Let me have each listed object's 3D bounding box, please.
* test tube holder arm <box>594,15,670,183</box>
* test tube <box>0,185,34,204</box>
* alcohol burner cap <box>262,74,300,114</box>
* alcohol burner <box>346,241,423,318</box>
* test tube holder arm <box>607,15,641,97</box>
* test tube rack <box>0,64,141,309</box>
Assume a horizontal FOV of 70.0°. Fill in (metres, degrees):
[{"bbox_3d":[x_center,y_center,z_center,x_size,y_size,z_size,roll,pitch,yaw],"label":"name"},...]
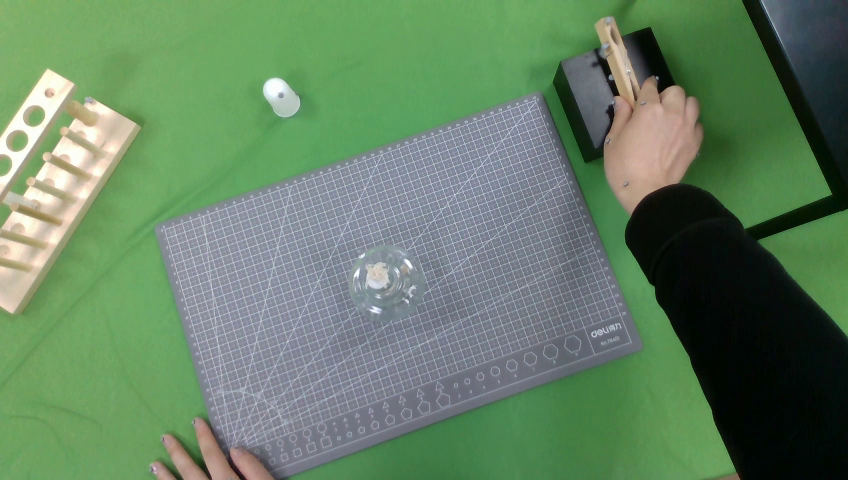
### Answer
[{"bbox_3d":[0.208,-0.141,0.606,0.013,0.015,0.178,-17,86,-26],"label":"test tube holder arm"},{"bbox_3d":[-0.430,-0.058,0.584,0.017,0.151,0.017,0,77,2],"label":"test tube"},{"bbox_3d":[-0.158,-0.163,0.660,0.034,0.048,0.033,-1,78,6],"label":"alcohol burner cap"},{"bbox_3d":[-0.041,0.037,0.591,0.078,0.119,0.077,-1,80,4],"label":"alcohol burner"},{"bbox_3d":[0.198,-0.185,0.612,0.010,0.015,0.087,-16,85,-26],"label":"test tube holder arm"},{"bbox_3d":[-0.408,-0.051,0.632,0.066,0.085,0.242,30,84,6],"label":"test tube rack"}]
